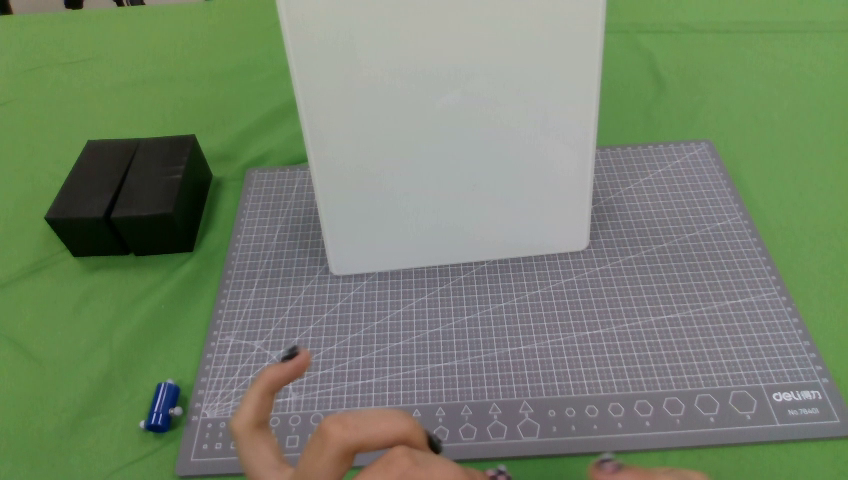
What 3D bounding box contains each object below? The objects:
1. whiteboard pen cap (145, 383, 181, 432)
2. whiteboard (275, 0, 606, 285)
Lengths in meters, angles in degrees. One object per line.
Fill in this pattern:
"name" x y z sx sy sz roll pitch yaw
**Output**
"whiteboard pen cap" -0.184 0.119 0.427 0.018 0.018 0.033 -1 51 2
"whiteboard" 0.014 -0.139 0.481 0.217 0.308 0.142 -5 30 0
